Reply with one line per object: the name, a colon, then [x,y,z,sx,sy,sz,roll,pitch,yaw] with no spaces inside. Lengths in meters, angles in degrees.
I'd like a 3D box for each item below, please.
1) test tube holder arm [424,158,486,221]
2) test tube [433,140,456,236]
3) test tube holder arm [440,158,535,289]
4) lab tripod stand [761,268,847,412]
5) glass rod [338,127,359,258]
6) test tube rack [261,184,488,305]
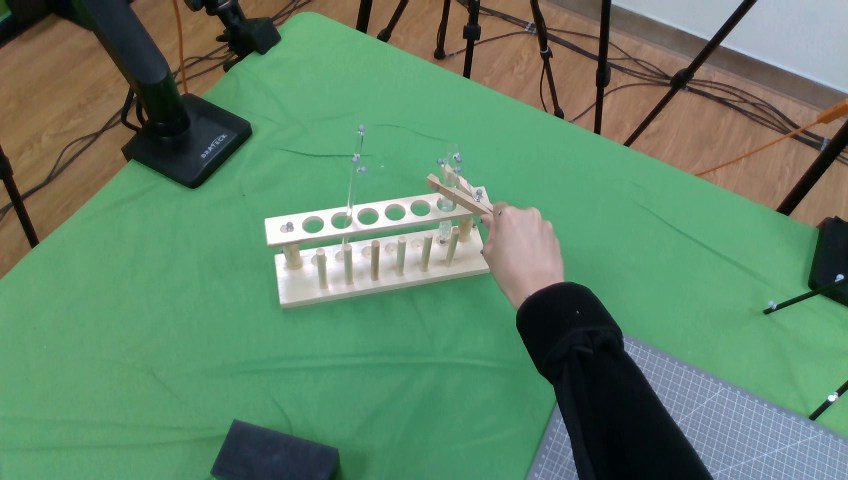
test tube holder arm: [0.033,-0.052,0.620,0.087,0.015,0.010,46,34,20]
test tube: [0.021,-0.052,0.658,0.017,0.151,0.017,2,55,-2]
test tube holder arm: [0.060,-0.022,0.602,0.013,0.015,0.176,1,44,-39]
lab tripod stand: [0.444,0.095,0.632,0.148,0.132,0.147,3,59,-4]
glass rod: [-0.079,-0.039,0.624,0.008,0.201,0.008,7,51,-8]
test tube rack: [-0.050,0.005,0.676,0.243,0.086,0.066,-9,59,-10]
